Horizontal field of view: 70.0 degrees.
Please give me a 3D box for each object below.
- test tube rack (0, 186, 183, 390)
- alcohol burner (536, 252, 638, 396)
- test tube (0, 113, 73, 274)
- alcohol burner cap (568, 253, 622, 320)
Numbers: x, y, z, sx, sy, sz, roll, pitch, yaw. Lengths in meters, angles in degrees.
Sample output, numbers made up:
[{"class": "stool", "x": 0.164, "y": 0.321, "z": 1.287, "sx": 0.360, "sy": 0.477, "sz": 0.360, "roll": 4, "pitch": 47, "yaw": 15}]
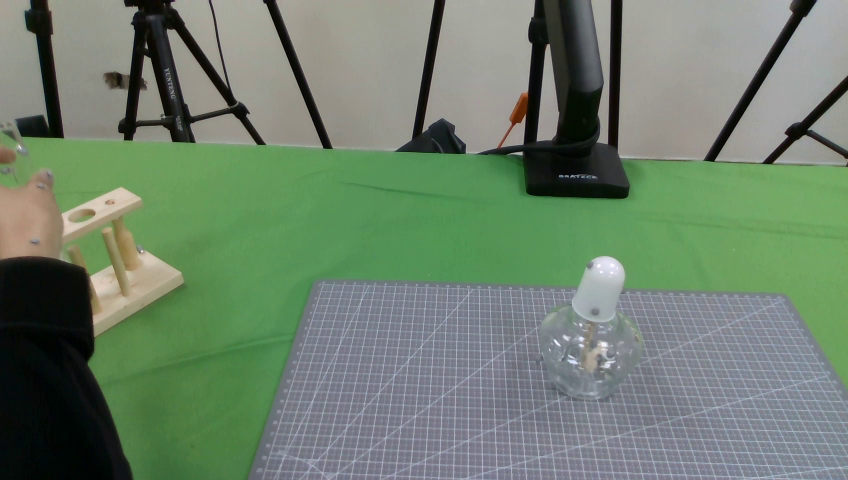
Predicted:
[{"class": "test tube rack", "x": -0.332, "y": 0.051, "z": 0.500, "sx": 0.066, "sy": 0.086, "sz": 0.242, "roll": 24, "pitch": 43, "yaw": 29}, {"class": "alcohol burner", "x": 0.125, "y": 0.060, "z": 0.459, "sx": 0.078, "sy": 0.120, "sz": 0.077, "roll": 0, "pitch": 34, "yaw": 0}, {"class": "test tube", "x": -0.320, "y": -0.032, "z": 0.498, "sx": 0.017, "sy": 0.151, "sz": 0.017, "roll": 1, "pitch": 36, "yaw": 0}, {"class": "alcohol burner cap", "x": 0.126, "y": 0.032, "z": 0.438, "sx": 0.034, "sy": 0.048, "sz": 0.033, "roll": 4, "pitch": 36, "yaw": -3}]
